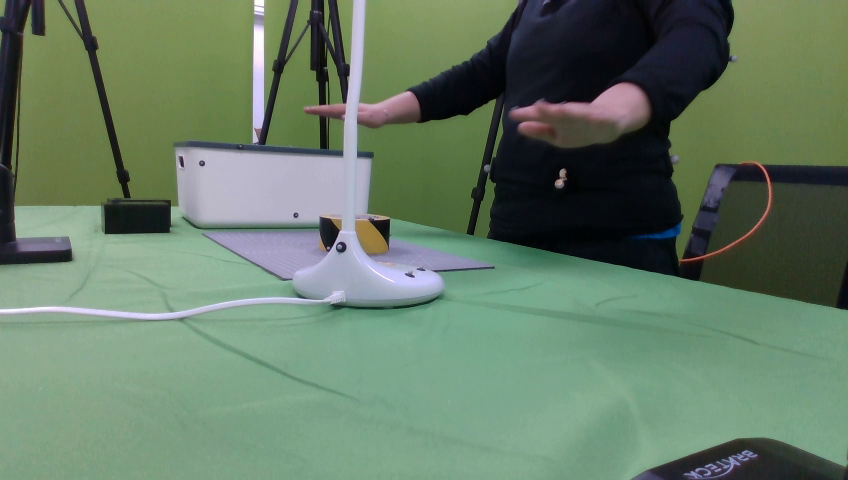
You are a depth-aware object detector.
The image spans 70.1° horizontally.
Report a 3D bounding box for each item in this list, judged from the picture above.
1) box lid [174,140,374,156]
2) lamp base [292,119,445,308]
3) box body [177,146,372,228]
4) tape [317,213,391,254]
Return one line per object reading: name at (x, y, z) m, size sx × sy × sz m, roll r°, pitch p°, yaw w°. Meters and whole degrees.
box lid at (-0.318, -0.190, 1.270) m, size 0.373 × 0.015 × 0.262 m, roll -1°, pitch 8°, yaw -29°
lamp base at (-0.056, -0.030, 0.616) m, size 0.160 × 0.180 × 0.179 m, roll 3°, pitch 10°, yaw 8°
box body at (-0.319, -0.118, 1.280) m, size 0.366 × 0.160 × 0.253 m, roll -1°, pitch 8°, yaw -29°
tape at (-0.109, -0.012, 0.938) m, size 0.117 × 0.052 × 0.117 m, roll 2°, pitch 7°, yaw 0°
